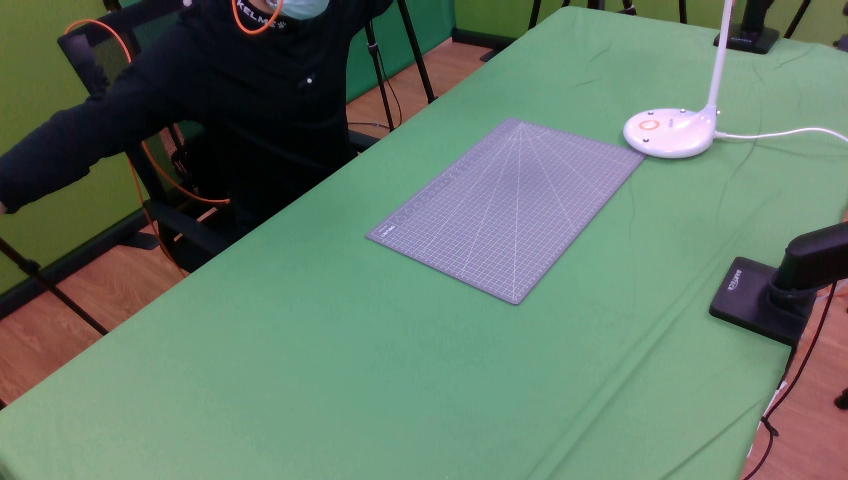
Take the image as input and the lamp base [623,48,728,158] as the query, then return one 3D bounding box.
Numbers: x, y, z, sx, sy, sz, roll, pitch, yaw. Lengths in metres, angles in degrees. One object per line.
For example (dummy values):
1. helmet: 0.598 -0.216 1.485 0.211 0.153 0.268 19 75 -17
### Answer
1. lamp base: 0.462 -0.261 1.084 0.179 0.181 0.160 3 42 7
